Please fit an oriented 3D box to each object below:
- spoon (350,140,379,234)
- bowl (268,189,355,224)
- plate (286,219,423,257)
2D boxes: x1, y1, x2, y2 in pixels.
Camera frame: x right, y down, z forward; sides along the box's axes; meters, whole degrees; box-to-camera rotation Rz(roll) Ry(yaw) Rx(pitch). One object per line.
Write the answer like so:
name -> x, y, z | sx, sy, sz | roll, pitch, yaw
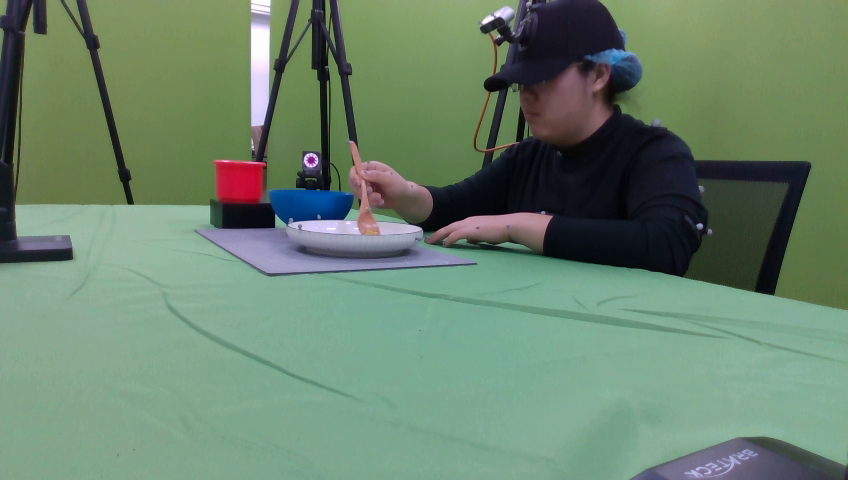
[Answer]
spoon -> -0.101, -0.085, 0.997 | 0.042, 0.193, 0.021 | 7, -27, -34
bowl -> -0.201, -0.048, 1.078 | 0.151, 0.077, 0.151 | 3, 8, 0
plate -> -0.105, -0.003, 0.922 | 0.208, 0.039, 0.207 | 3, 7, 0
